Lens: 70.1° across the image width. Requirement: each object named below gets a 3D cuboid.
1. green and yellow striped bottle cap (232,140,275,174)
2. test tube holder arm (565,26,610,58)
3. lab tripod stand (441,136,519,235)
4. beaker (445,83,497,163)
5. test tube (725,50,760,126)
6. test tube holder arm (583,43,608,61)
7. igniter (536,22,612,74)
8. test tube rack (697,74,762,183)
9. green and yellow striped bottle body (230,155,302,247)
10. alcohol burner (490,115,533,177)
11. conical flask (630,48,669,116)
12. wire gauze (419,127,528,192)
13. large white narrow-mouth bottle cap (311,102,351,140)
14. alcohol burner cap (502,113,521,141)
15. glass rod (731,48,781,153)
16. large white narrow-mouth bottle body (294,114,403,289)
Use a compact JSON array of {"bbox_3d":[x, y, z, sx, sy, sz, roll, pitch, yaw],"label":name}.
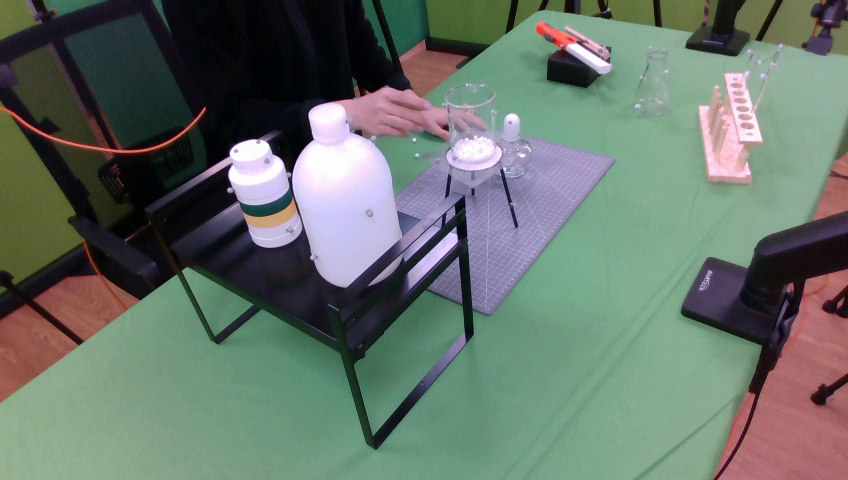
[{"bbox_3d":[-0.192,-0.094,0.680,0.045,0.020,0.045,-5,39,5],"label":"green and yellow striped bottle cap"},{"bbox_3d":[0.369,-0.451,1.373,0.013,0.015,0.177,-39,41,10],"label":"test tube holder arm"},{"bbox_3d":[0.083,-0.086,0.976,0.148,0.132,0.147,-4,43,4],"label":"lab tripod stand"},{"bbox_3d":[0.073,-0.175,0.905,0.074,0.101,0.084,3,41,13],"label":"beaker"},{"bbox_3d":[0.570,-0.269,1.086,0.017,0.151,0.017,-1,45,2],"label":"test tube"},{"bbox_3d":[0.379,-0.420,1.341,0.010,0.015,0.087,-39,41,10],"label":"test tube holder arm"},{"bbox_3d":[0.330,-0.439,1.366,0.057,0.025,0.274,-11,41,-20],"label":"igniter"},{"bbox_3d":[0.547,-0.208,1.094,0.066,0.085,0.242,5,42,15],"label":"test tube rack"},{"bbox_3d":[-0.188,-0.055,0.714,0.063,0.120,0.063,-4,41,4],"label":"green and yellow striped bottle body"},{"bbox_3d":[0.157,-0.173,1.083,0.078,0.119,0.077,-4,43,4],"label":"alcohol burner"},{"bbox_3d":[0.456,-0.317,1.205,0.075,0.122,0.075,-4,41,4],"label":"conical flask"},{"bbox_3d":[0.076,-0.131,0.927,0.122,0.011,0.124,-35,50,-26],"label":"wire gauze"},{"bbox_3d":[-0.089,-0.114,0.579,0.038,0.024,0.037,-3,40,3],"label":"large white narrow-mouth bottle cap"},{"bbox_3d":[0.155,-0.200,1.058,0.034,0.048,0.033,-2,50,2],"label":"alcohol burner cap"},{"bbox_3d":[0.554,-0.228,1.014,0.008,0.200,0.008,1,44,-1],"label":"glass rod"},{"bbox_3d":[-0.082,-0.047,0.634,0.102,0.195,0.101,-4,40,4],"label":"large white narrow-mouth bottle body"}]
